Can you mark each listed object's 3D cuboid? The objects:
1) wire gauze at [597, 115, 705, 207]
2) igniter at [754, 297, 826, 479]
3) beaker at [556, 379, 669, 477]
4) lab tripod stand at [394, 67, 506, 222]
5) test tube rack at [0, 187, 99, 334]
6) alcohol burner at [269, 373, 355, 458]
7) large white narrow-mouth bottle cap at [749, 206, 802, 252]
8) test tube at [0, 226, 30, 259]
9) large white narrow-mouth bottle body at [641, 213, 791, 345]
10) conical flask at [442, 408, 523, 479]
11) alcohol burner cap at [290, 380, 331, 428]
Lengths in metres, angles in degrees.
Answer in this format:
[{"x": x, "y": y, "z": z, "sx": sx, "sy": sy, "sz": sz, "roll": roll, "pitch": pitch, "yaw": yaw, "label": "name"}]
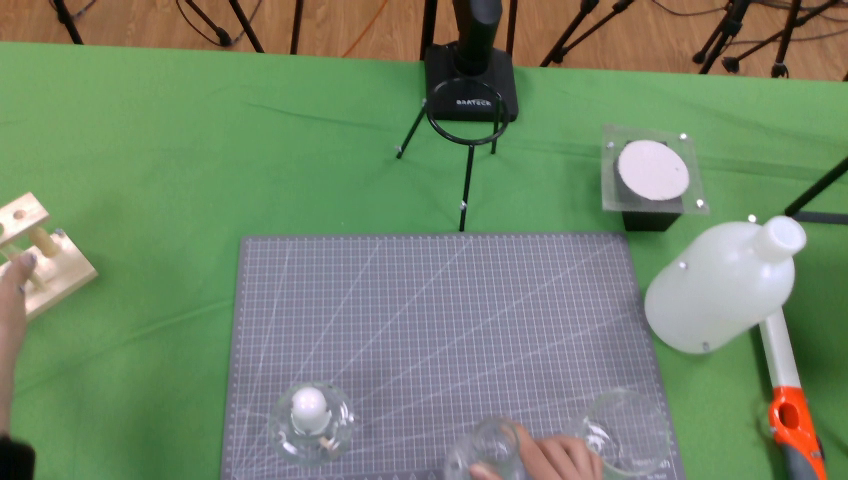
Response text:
[{"x": 0.266, "y": -0.094, "z": 0.719, "sx": 0.121, "sy": 0.011, "sz": 0.124, "roll": 6, "pitch": 62, "yaw": -4, "label": "wire gauze"}, {"x": 0.387, "y": 0.161, "z": 0.649, "sx": 0.057, "sy": 0.025, "sz": 0.274, "roll": 10, "pitch": 61, "yaw": -13, "label": "igniter"}, {"x": 0.168, "y": 0.181, "z": 0.568, "sx": 0.084, "sy": 0.101, "sz": 0.073, "roll": -4, "pitch": 63, "yaw": -8, "label": "beaker"}, {"x": 0.038, "y": -0.114, "z": 0.687, "sx": 0.149, "sy": 0.132, "sz": 0.147, "roll": 4, "pitch": 63, "yaw": -7, "label": "lab tripod stand"}, {"x": -0.447, "y": 0.060, "z": 0.564, "sx": 0.242, "sy": 0.086, "sz": 0.066, "roll": -40, "pitch": 74, "yaw": -23, "label": "test tube rack"}, {"x": -0.100, "y": 0.152, "z": 0.541, "sx": 0.078, "sy": 0.120, "sz": 0.077, "roll": 4, "pitch": 61, "yaw": -7, "label": "alcohol burner"}, {"x": 0.309, "y": -0.010, "z": 0.535, "sx": 0.038, "sy": 0.024, "sz": 0.037, "roll": 3, "pitch": 62, "yaw": -5, "label": "large white narrow-mouth bottle cap"}, {"x": -0.406, "y": -0.018, "z": 0.553, "sx": 0.017, "sy": 0.151, "sz": 0.017, "roll": 1, "pitch": 61, "yaw": -2, "label": "test tube"}, {"x": 0.301, "y": 0.031, "z": 0.610, "sx": 0.102, "sy": 0.196, "sz": 0.101, "roll": 3, "pitch": 62, "yaw": -4, "label": "large white narrow-mouth bottle body"}, {"x": 0.054, "y": 0.178, "z": 0.515, "sx": 0.075, "sy": 0.123, "sz": 0.074, "roll": 1, "pitch": 58, "yaw": 0, "label": "conical flask"}, {"x": -0.097, "y": 0.136, "z": 0.509, "sx": 0.034, "sy": 0.048, "sz": 0.033, "roll": 2, "pitch": 57, "yaw": -3, "label": "alcohol burner cap"}]
